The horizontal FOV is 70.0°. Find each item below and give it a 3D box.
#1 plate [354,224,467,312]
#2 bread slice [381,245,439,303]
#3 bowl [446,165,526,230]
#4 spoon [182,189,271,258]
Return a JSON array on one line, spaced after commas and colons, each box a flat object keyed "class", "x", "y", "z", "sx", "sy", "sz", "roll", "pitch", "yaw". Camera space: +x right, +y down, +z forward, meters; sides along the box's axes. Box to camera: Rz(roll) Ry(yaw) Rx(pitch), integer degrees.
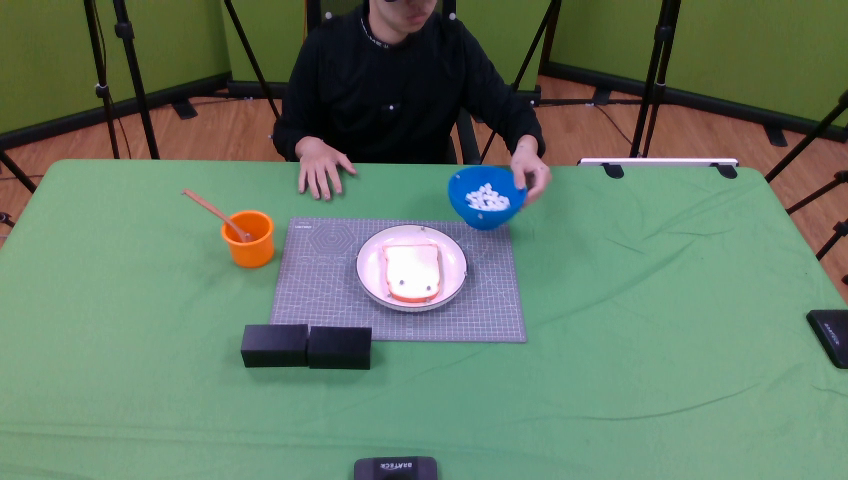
[{"class": "plate", "x": -0.025, "y": 0.055, "z": 1.128, "sx": 0.209, "sy": 0.038, "sz": 0.208, "roll": 3, "pitch": 46, "yaw": -2}, {"class": "bread slice", "x": -0.022, "y": 0.061, "z": 1.126, "sx": 0.107, "sy": 0.018, "sz": 0.133, "roll": -3, "pitch": 45, "yaw": -8}, {"class": "bowl", "x": 0.115, "y": -0.072, "z": 1.165, "sx": 0.151, "sy": 0.077, "sz": 0.150, "roll": 3, "pitch": 40, "yaw": -2}, {"class": "spoon", "x": -0.361, "y": -0.032, "z": 1.113, "sx": 0.021, "sy": 0.194, "sz": 0.041, "roll": -27, "pitch": 30, "yaw": 34}]
